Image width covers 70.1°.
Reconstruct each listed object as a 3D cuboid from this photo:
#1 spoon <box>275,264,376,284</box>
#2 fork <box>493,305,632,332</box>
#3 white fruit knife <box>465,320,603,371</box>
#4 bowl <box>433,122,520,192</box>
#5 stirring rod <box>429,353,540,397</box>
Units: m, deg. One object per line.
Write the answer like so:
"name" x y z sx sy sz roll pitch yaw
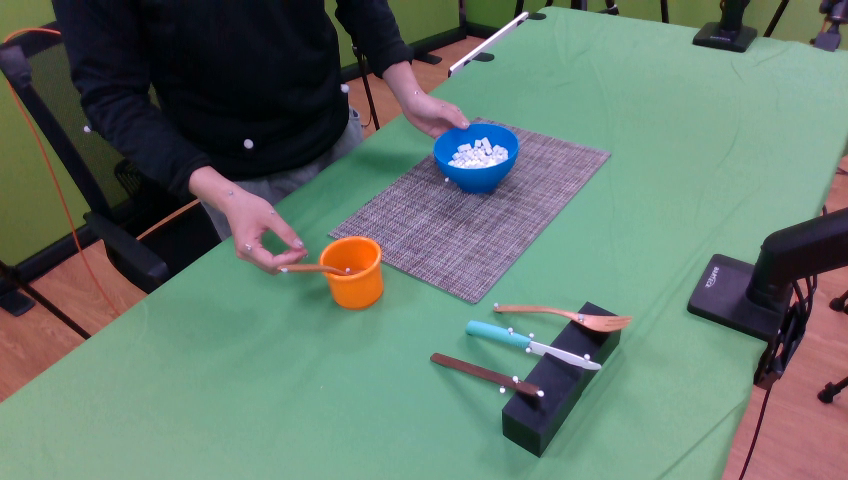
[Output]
"spoon" -0.133 0.044 0.839 0.041 0.195 0.021 24 95 33
"fork" 0.171 0.097 0.783 0.205 0.019 0.028 4 40 43
"white fruit knife" 0.128 0.129 0.749 0.205 0.027 0.016 10 44 44
"bowl" 0.093 -0.137 1.064 0.151 0.077 0.150 -4 41 4
"stirring rod" 0.069 0.162 0.737 0.174 0.006 0.014 8 41 47
